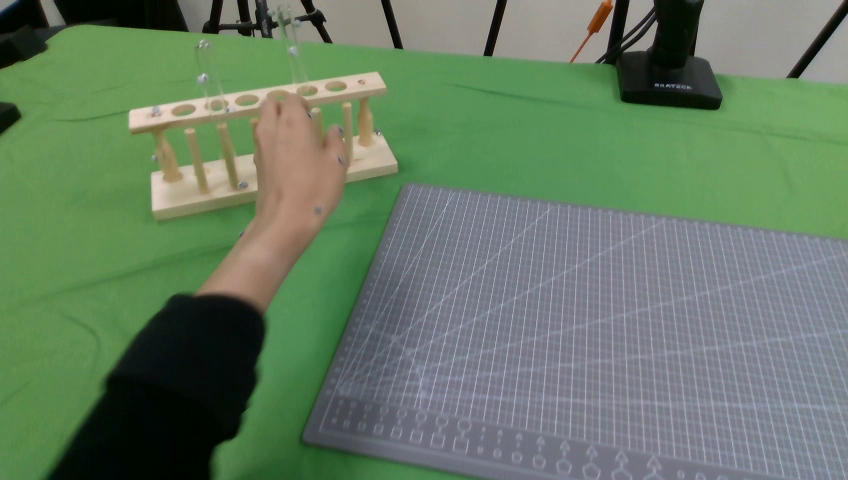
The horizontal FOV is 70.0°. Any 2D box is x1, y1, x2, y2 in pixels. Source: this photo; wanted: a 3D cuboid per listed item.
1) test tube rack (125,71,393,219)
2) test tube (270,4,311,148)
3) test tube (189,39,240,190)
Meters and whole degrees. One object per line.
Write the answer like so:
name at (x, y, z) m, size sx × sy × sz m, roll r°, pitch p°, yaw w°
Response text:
test tube rack at (-0.157, -0.098, 0.607) m, size 0.243 × 0.086 × 0.066 m, roll -13°, pitch 45°, yaw -15°
test tube at (-0.125, -0.155, 0.595) m, size 0.017 × 0.151 × 0.017 m, roll -3°, pitch 43°, yaw 3°
test tube at (-0.190, -0.110, 0.553) m, size 0.017 × 0.152 × 0.017 m, roll 1°, pitch 41°, yaw 0°
